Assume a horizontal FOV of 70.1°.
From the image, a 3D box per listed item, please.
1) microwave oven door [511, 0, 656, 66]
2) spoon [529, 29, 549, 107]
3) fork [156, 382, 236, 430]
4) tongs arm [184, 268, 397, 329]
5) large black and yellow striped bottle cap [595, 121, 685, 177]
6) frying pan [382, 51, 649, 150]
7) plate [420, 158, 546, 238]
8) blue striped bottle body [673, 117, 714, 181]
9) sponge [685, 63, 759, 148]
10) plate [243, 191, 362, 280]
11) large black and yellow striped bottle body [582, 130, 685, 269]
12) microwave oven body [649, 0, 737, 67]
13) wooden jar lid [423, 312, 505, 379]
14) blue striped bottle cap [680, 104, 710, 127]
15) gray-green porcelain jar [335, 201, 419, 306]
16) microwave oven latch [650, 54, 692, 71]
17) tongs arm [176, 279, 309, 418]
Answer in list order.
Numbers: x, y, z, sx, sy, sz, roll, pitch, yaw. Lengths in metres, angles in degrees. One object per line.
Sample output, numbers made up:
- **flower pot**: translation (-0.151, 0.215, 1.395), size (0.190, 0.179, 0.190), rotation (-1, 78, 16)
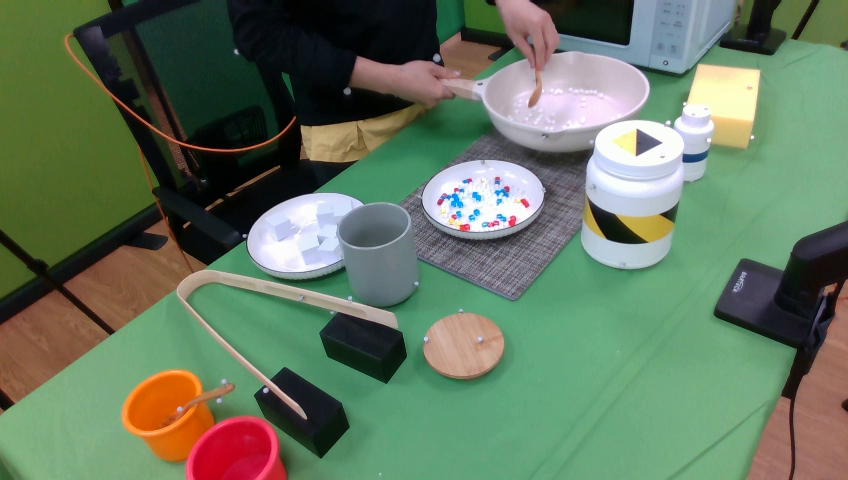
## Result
- **microwave oven door**: translation (0.351, -0.540, 1.349), size (0.353, 0.245, 0.039), rotation (24, 50, 31)
- **spoon**: translation (0.212, -0.322, 1.112), size (0.021, 0.042, 0.193), rotation (6, 62, 9)
- **fork**: translation (-0.262, 0.189, 0.690), size (0.018, 0.206, 0.028), rotation (49, 43, -7)
- **tongs arm**: translation (-0.202, 0.084, 0.848), size (0.382, 0.027, 0.051), rotation (11, 45, 35)
- **large black and yellow striped bottle cap**: translation (0.292, -0.126, 0.821), size (0.115, 0.019, 0.114), rotation (-5, 40, 4)
- **frying pan**: translation (0.155, -0.276, 1.123), size (0.486, 0.103, 0.306), rotation (13, 43, 11)
- **plate**: translation (0.099, -0.067, 1.017), size (0.209, 0.038, 0.208), rotation (-4, 40, 4)
- **blue striped bottle body**: translation (0.449, -0.165, 1.022), size (0.063, 0.121, 0.063), rotation (-5, 41, 5)
- **sponge**: translation (0.569, -0.263, 1.164), size (0.117, 0.061, 0.207), rotation (12, 45, 22)
- **plate**: translation (-0.188, -0.005, 0.992), size (0.207, 0.039, 0.206), rotation (-4, 41, 4)
- **large black and yellow striped bottle body**: translation (0.301, -0.063, 0.877), size (0.131, 0.185, 0.130), rotation (-4, 41, 4)
- **microwave oven body**: translation (0.475, -0.602, 1.411), size (0.438, 0.261, 0.327), rotation (23, 50, 32)
- **wooden jar lid**: translation (0.053, 0.142, 0.800), size (0.108, 0.021, 0.108), rotation (-5, 39, 4)
- **blue striped bottle cap**: translation (0.443, -0.205, 0.989), size (0.044, 0.021, 0.044), rotation (-1, 41, 2)
- **gray-green porcelain jar**: translation (-0.064, 0.024, 0.872), size (0.106, 0.127, 0.105), rotation (-4, 41, 4)
- **microwave oven latch**: translation (0.531, -0.386, 1.301), size (0.078, 0.029, 0.030), rotation (24, 50, 32)
- **tongs arm**: translation (-0.254, 0.132, 0.801), size (0.028, 0.028, 0.384), rotation (-41, 40, -23)
